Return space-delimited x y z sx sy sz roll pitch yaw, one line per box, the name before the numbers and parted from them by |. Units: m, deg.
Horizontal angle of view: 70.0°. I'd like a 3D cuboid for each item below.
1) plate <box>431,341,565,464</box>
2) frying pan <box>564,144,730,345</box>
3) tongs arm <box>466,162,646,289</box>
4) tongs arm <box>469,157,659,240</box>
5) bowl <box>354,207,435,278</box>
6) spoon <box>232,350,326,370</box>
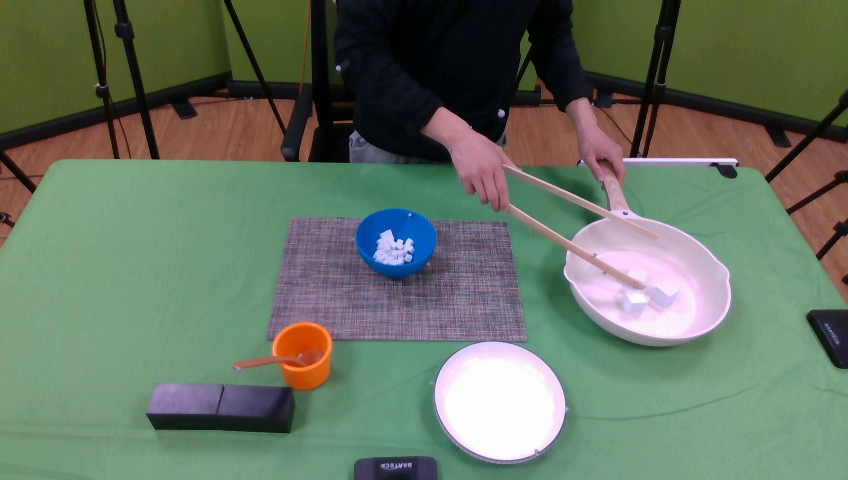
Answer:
plate | 0.114 0.255 0.951 0.208 0.039 0.206 3 46 -2
frying pan | 0.396 -0.008 1.179 0.307 0.103 0.484 0 55 -5
tongs arm | 0.240 -0.023 1.093 0.385 0.026 0.050 29 69 -7
tongs arm | 0.263 -0.074 1.116 0.388 0.028 0.028 22 74 -10
bowl | -0.056 0.018 1.132 0.151 0.077 0.150 2 46 -2
spoon | -0.216 0.182 0.919 0.041 0.194 0.021 43 102 27
